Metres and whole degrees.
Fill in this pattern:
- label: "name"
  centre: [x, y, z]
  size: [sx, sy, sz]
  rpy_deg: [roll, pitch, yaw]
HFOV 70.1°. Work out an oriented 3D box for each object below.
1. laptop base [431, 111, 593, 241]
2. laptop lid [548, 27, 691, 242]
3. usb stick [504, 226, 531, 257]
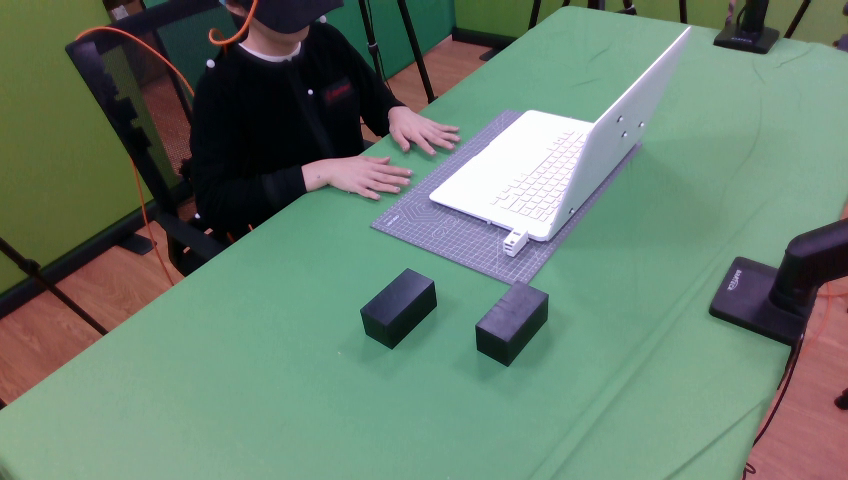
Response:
- label: "laptop base"
  centre: [0.207, -0.129, 1.100]
  size: [0.233, 0.023, 0.355]
  rpy_deg: [20, 48, 33]
- label: "laptop lid"
  centre: [0.310, -0.168, 0.950]
  size: [0.013, 0.242, 0.358]
  rpy_deg: [33, 52, 20]
- label: "usb stick"
  centre: [0.149, -0.002, 0.940]
  size: [0.021, 0.027, 0.059]
  rpy_deg: [22, 47, 32]
